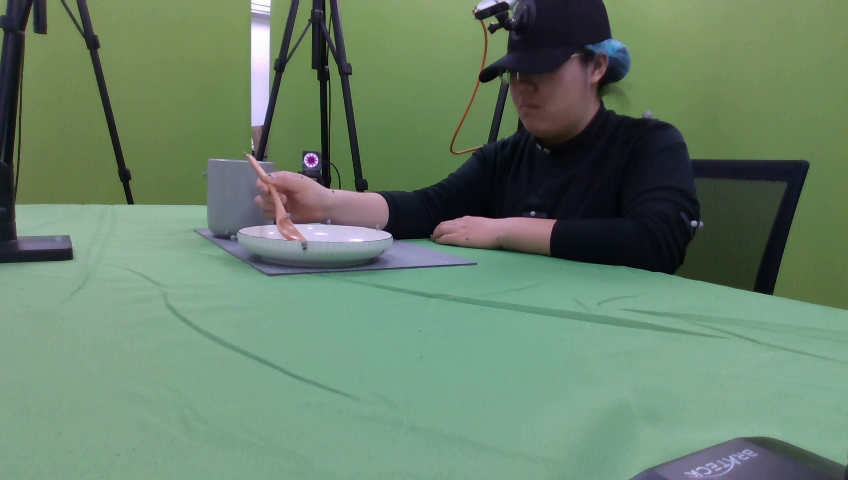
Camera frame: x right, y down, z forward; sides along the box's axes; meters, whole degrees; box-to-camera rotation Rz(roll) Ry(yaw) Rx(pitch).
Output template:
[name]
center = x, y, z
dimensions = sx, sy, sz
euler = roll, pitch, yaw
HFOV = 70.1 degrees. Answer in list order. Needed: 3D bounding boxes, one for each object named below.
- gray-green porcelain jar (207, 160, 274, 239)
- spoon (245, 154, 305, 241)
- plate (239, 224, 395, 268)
[gray-green porcelain jar]
center = -0.304, -0.068, 1.003
dimensions = 0.106, 0.126, 0.106
euler = 3, 7, 0
[spoon]
center = -0.217, -0.061, 0.870
dimensions = 0.042, 0.021, 0.193
euler = 14, 38, -52
[plate]
center = -0.144, 0.007, 0.823
dimensions = 0.208, 0.039, 0.207
euler = 3, 7, 0
